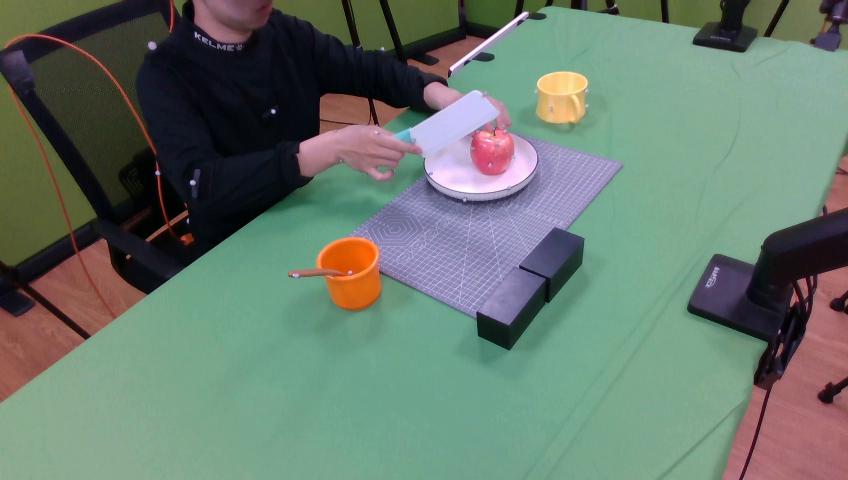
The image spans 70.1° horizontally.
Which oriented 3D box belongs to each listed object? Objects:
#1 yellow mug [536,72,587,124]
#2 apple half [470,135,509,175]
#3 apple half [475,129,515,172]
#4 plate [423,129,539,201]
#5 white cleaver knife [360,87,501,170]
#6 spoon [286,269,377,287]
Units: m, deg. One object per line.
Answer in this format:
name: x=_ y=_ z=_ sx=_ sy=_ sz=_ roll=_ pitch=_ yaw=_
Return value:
yellow mug: x=0.284 y=-0.281 z=1.222 sx=0.100 sy=0.064 sz=0.130 roll=-16 pitch=42 yaw=-9
apple half: x=0.109 y=-0.143 z=1.062 sx=0.081 sy=0.081 sz=0.033 roll=19 pitch=43 yaw=28
apple half: x=0.130 y=-0.164 z=1.086 sx=0.080 sy=0.075 sz=0.053 roll=15 pitch=41 yaw=31
plate: x=0.103 y=-0.132 z=1.093 sx=0.209 sy=0.038 sz=0.208 roll=-4 pitch=40 yaw=4
white cleaver knife: x=-0.001 y=-0.169 z=1.002 sx=0.285 sy=0.066 sz=0.021 roll=-21 pitch=32 yaw=38
spoon: x=-0.125 y=0.049 z=0.831 sx=0.041 sy=0.195 sz=0.021 roll=22 pitch=92 yaw=28
